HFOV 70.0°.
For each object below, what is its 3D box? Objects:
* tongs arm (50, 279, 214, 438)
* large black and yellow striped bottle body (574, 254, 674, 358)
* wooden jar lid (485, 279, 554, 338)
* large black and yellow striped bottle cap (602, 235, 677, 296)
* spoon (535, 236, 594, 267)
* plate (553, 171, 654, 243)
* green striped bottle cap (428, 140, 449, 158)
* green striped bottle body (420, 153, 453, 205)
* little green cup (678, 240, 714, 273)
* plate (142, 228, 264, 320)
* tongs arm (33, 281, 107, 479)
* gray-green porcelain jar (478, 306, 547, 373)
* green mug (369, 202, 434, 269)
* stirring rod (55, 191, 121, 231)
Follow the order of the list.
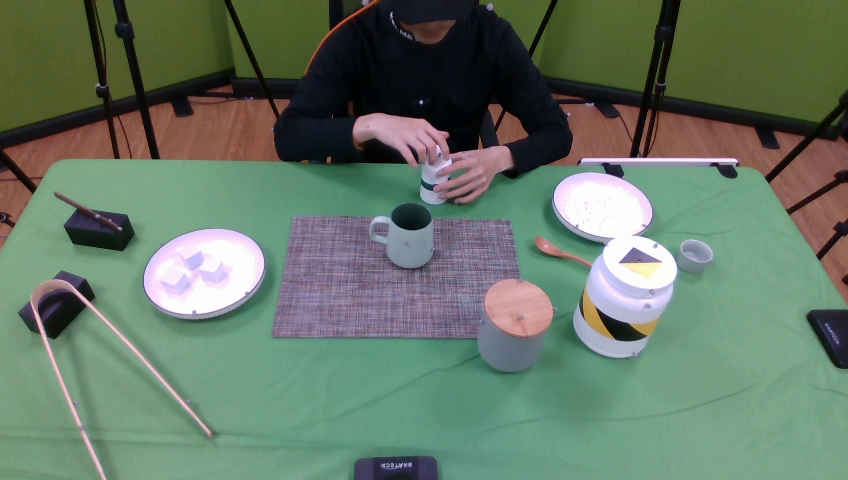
[{"bbox_3d":[-0.459,0.178,0.949,0.386,0.028,0.028,37,60,17],"label":"tongs arm"},{"bbox_3d":[0.335,0.096,1.014,0.131,0.185,0.130,2,46,-2],"label":"large black and yellow striped bottle body"},{"bbox_3d":[0.147,0.108,0.940,0.108,0.021,0.107,4,47,-4],"label":"wooden jar lid"},{"bbox_3d":[0.340,0.037,0.955,0.115,0.019,0.114,2,47,-1],"label":"large black and yellow striped bottle cap"},{"bbox_3d":[0.303,0.040,1.178,0.193,0.022,0.041,25,30,19],"label":"spoon"},{"bbox_3d":[0.373,-0.066,1.275,0.209,0.038,0.208,2,46,-2],"label":"plate"},{"bbox_3d":[0.029,-0.180,1.224,0.044,0.020,0.044,-2,64,3],"label":"green striped bottle cap"},{"bbox_3d":[0.026,-0.137,1.262,0.063,0.120,0.063,3,45,-3],"label":"green striped bottle body"},{"bbox_3d":[0.530,0.033,1.190,0.061,0.039,0.061,2,46,-1],"label":"little green cup"},{"bbox_3d":[-0.394,0.064,1.095,0.208,0.039,0.206,2,46,-2],"label":"plate"},{"bbox_3d":[-0.517,0.214,0.910,0.051,0.026,0.383,-28,63,-27],"label":"tongs arm"},{"bbox_3d":[0.144,0.148,0.989,0.106,0.127,0.105,1,50,-2],"label":"gray-green porcelain jar"},{"bbox_3d":[-0.042,-0.010,1.140,0.125,0.105,0.092,7,47,4],"label":"green mug"},{"bbox_3d":[-0.632,-0.055,1.138,0.175,0.014,0.006,24,50,19],"label":"stirring rod"}]
